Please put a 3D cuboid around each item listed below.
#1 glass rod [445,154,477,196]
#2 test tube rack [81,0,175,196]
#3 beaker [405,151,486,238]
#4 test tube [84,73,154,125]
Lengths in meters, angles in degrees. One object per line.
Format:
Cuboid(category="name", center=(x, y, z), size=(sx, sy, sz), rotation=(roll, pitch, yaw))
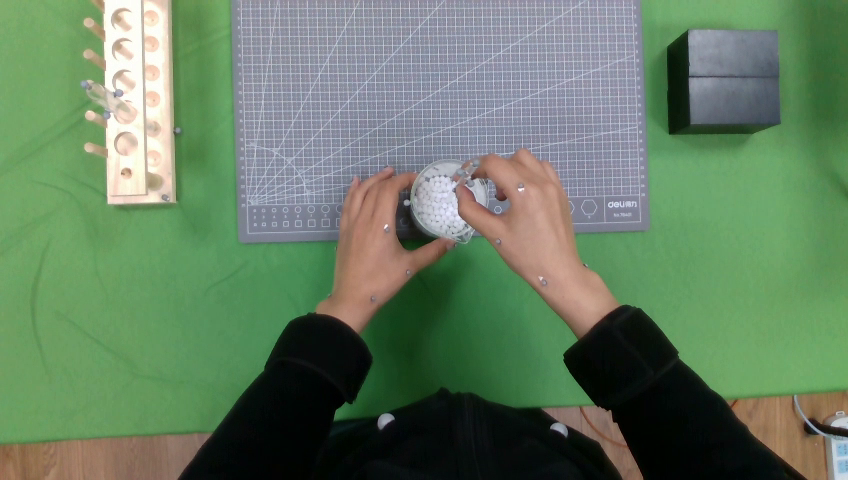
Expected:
Cuboid(category="glass rod", center=(0.031, -0.056, 0.550), size=(0.008, 0.199, 0.008), rotation=(0, 86, -3))
Cuboid(category="test tube rack", center=(-0.298, -0.168, 0.600), size=(0.067, 0.085, 0.242), rotation=(-2, 89, -4))
Cuboid(category="beaker", center=(0.019, -0.041, 0.613), size=(0.074, 0.100, 0.084), rotation=(-21, 91, -4))
Cuboid(category="test tube", center=(-0.273, -0.125, 0.552), size=(0.017, 0.150, 0.017), rotation=(0, 90, -9))
